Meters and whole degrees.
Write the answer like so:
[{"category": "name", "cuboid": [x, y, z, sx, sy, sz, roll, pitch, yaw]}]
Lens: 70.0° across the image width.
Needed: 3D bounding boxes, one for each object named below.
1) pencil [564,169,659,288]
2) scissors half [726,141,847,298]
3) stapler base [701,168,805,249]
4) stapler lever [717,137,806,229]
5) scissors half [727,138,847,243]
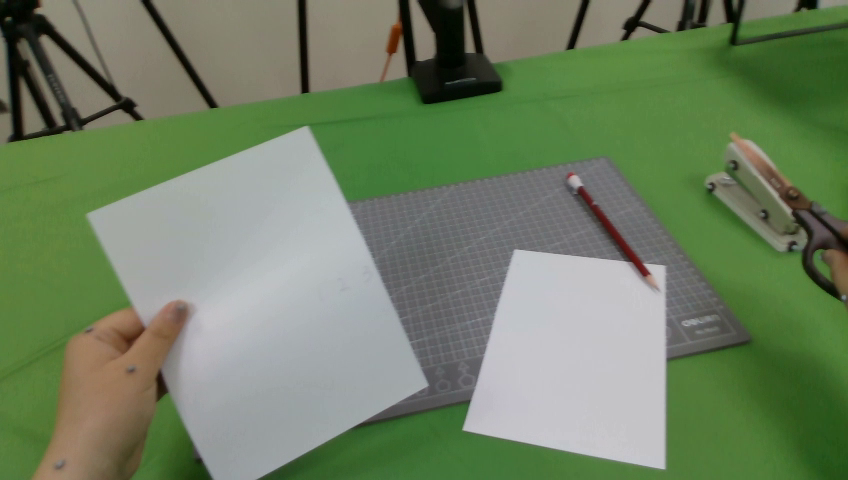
[{"category": "pencil", "cuboid": [0.186, -0.017, 0.613, 0.012, 0.012, 0.192, -13, 42, -8]}, {"category": "scissors half", "cuboid": [0.286, -0.023, 0.472, 0.040, 0.013, 0.173, -14, 51, -3]}, {"category": "stapler base", "cuboid": [0.336, -0.042, 0.616, 0.041, 0.025, 0.129, -16, 43, -7]}, {"category": "stapler lever", "cuboid": [0.335, -0.060, 0.599, 0.027, 0.040, 0.116, -16, 43, -7]}, {"category": "scissors half", "cuboid": [0.305, -0.029, 0.475, 0.040, 0.013, 0.173, -24, 53, -17]}]
